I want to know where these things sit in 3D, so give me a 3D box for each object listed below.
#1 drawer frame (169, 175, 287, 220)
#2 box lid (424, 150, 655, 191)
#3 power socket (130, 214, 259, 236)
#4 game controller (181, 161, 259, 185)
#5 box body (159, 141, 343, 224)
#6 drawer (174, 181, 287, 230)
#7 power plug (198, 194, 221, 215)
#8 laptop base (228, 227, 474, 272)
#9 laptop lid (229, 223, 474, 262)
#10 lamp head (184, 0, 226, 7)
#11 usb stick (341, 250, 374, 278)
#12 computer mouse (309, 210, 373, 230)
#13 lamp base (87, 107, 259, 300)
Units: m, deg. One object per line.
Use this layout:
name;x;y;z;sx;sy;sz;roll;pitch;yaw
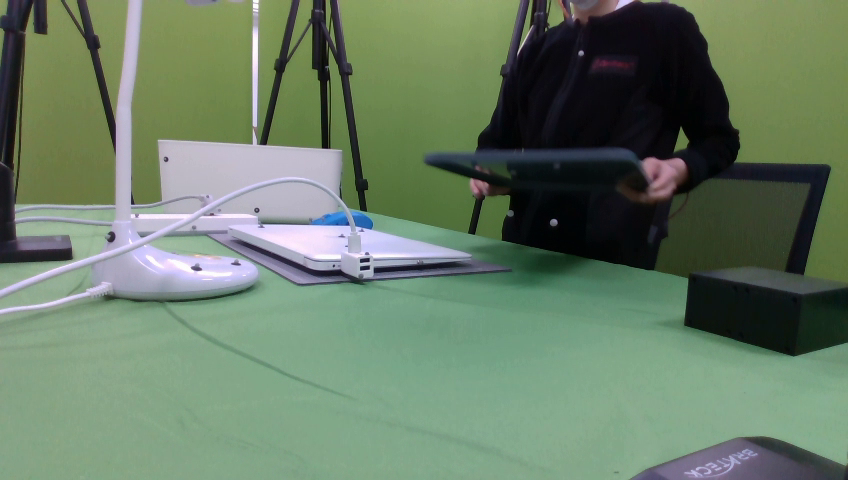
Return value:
drawer frame;-0.415;-0.096;1.318;0.214;0.082;0.201;-5;6;-9
box lid;0.183;-0.093;0.868;0.262;0.015;0.373;3;0;24
power socket;-0.397;-0.028;1.048;0.228;0.032;0.072;-3;7;-35
game controller;-0.444;-0.144;1.306;0.156;0.051;0.096;-2;5;-34
box body;-0.365;-0.128;1.337;0.365;0.160;0.253;1;7;-8
drawer;-0.412;-0.077;1.323;0.212;0.073;0.194;-9;10;-8
power plug;-0.386;-0.055;1.088;0.035;0.052;0.072;-2;7;-24
laptop base;-0.124;0.011;0.889;0.237;0.023;0.352;2;6;-35
laptop lid;-0.121;0.000;0.888;0.243;0.013;0.355;1;7;-33
lamp head;-0.229;-0.320;0.627;0.112;0.112;0.123;6;-36;26
usb stick;-0.078;0.026;0.686;0.021;0.027;0.059;-8;8;-30
computer mouse;-0.157;-0.034;1.139;0.118;0.041;0.062;-6;12;-28
lamp base;-0.254;-0.039;0.603;0.160;0.180;0.179;5;10;18
